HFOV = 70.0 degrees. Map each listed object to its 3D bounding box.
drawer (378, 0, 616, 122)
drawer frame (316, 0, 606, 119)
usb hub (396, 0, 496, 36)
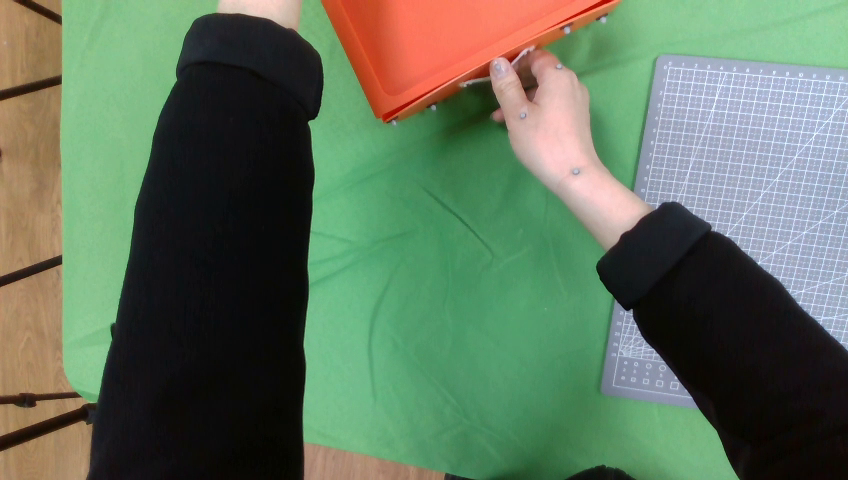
[{"bbox_3d":[0.012,-0.225,0.461,0.194,0.073,0.212,-25,96,14],"label":"drawer"},{"bbox_3d":[0.008,-0.229,0.457,0.201,0.082,0.214,-25,97,13],"label":"drawer frame"},{"bbox_3d":[0.037,-0.206,0.471,0.125,0.025,0.050,-16,112,21],"label":"usb hub"}]
